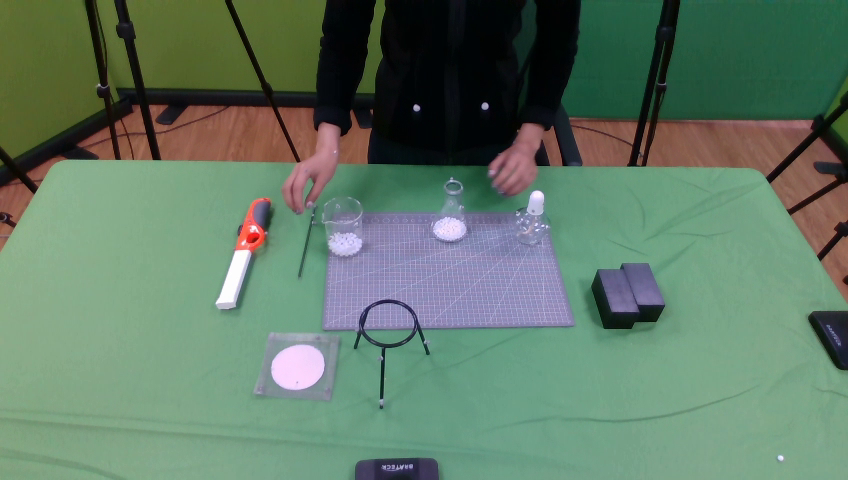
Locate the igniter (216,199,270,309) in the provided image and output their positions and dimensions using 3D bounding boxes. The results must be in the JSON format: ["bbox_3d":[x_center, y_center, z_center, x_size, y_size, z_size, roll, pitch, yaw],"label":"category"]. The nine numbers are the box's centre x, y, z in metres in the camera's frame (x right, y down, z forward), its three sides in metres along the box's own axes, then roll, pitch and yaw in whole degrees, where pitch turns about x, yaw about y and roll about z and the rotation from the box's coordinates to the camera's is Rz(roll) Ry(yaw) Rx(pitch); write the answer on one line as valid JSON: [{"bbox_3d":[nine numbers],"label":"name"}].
[{"bbox_3d":[-0.342,0.016,1.153,0.057,0.025,0.275,-3,45,7],"label":"igniter"}]

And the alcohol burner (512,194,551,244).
[{"bbox_3d":[0.215,-0.048,1.196,0.078,0.119,0.077,4,46,-4],"label":"alcohol burner"}]

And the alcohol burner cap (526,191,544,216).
[{"bbox_3d":[0.216,-0.073,1.170,0.034,0.048,0.033,-1,42,1],"label":"alcohol burner cap"}]

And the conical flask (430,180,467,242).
[{"bbox_3d":[0.052,-0.060,1.188,0.075,0.122,0.075,2,46,-2],"label":"conical flask"}]

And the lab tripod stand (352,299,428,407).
[{"bbox_3d":[-0.056,0.166,0.958,0.148,0.132,0.147,3,44,-2],"label":"lab tripod stand"}]

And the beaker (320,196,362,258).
[{"bbox_3d":[-0.156,-0.020,1.150,0.084,0.101,0.073,-30,54,-28],"label":"beaker"}]

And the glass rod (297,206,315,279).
[{"bbox_3d":[-0.231,0.000,1.191,0.008,0.008,0.198,2,46,-1],"label":"glass rod"}]

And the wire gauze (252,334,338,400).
[{"bbox_3d":[-0.209,0.204,0.996,0.125,0.011,0.120,3,45,1],"label":"wire gauze"}]
